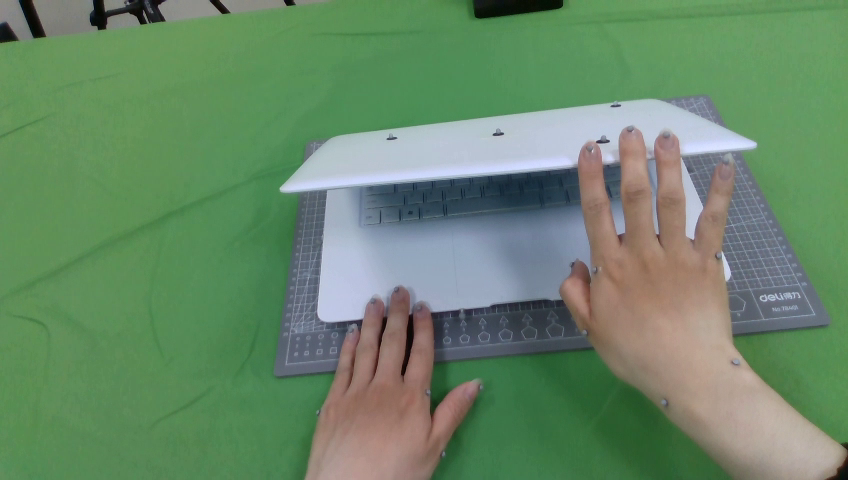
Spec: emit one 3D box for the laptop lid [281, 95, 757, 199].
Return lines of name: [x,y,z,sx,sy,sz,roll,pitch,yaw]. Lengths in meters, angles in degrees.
laptop lid: [0.068,-0.092,0.543,0.356,0.013,0.240,-5,21,5]

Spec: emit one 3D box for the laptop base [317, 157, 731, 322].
laptop base: [0.078,-0.035,0.586,0.354,0.023,0.233,-6,53,3]
